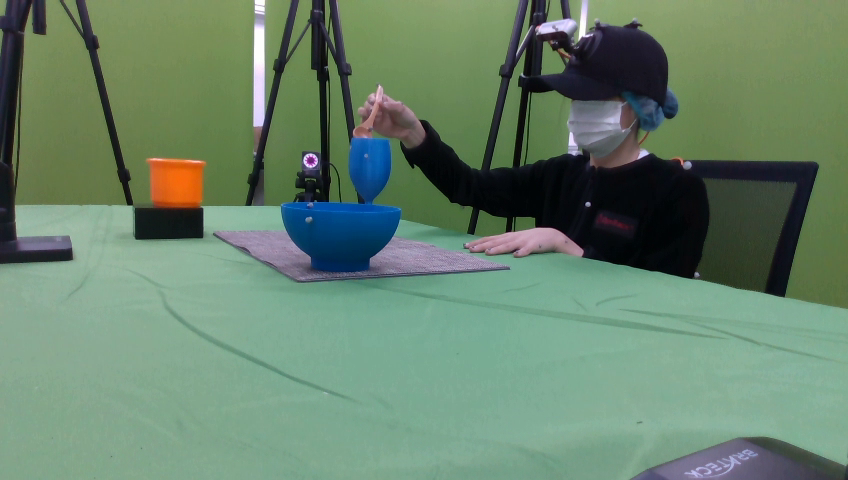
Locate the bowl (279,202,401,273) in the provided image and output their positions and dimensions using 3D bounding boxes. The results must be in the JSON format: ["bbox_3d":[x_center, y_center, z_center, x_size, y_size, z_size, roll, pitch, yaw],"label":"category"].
[{"bbox_3d":[-0.105,-0.003,0.756,0.151,0.077,0.151,3,7,0],"label":"bowl"}]

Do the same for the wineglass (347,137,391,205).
[{"bbox_3d":[-0.092,-0.081,0.997,0.074,0.172,0.073,3,7,0],"label":"wineglass"}]

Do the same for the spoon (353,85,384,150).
[{"bbox_3d":[-0.089,-0.216,1.041,0.021,0.042,0.193,-25,33,33],"label":"spoon"}]
